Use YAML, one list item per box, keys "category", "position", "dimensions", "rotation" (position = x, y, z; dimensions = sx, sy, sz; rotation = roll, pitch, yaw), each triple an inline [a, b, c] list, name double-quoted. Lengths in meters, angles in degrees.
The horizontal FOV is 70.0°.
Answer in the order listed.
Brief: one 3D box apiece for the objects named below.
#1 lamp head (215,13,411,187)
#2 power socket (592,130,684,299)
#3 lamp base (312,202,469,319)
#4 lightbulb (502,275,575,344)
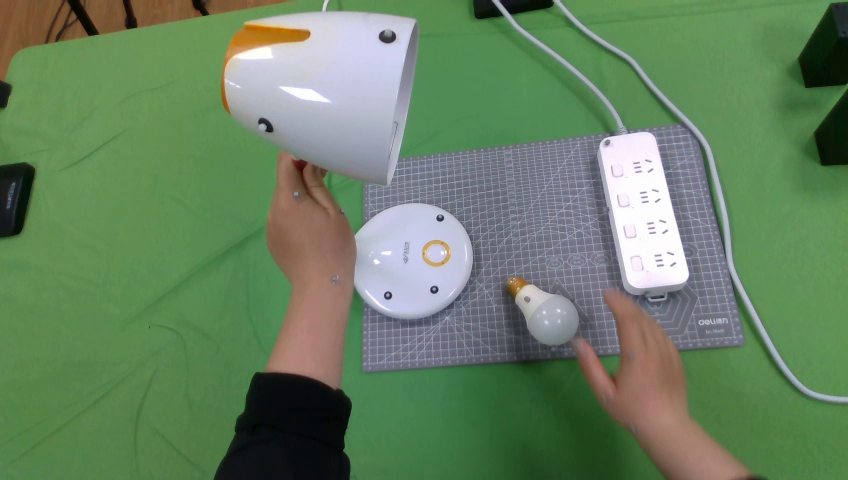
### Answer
- category: "lamp head"
  position: [-0.074, -0.098, 0.410]
  dimensions: [0.123, 0.113, 0.111]
  rotation: [8, 70, 4]
- category: "power socket"
  position: [0.262, -0.039, 0.753]
  dimensions: [0.072, 0.033, 0.225]
  rotation: [-7, 67, 6]
- category: "lamp base"
  position: [-0.047, -0.002, 0.711]
  dimensions: [0.179, 0.182, 0.159]
  rotation: [-12, 67, 8]
- category: "lightbulb"
  position: [0.131, 0.078, 0.719]
  dimensions: [0.059, 0.060, 0.106]
  rotation: [-40, 53, -7]
